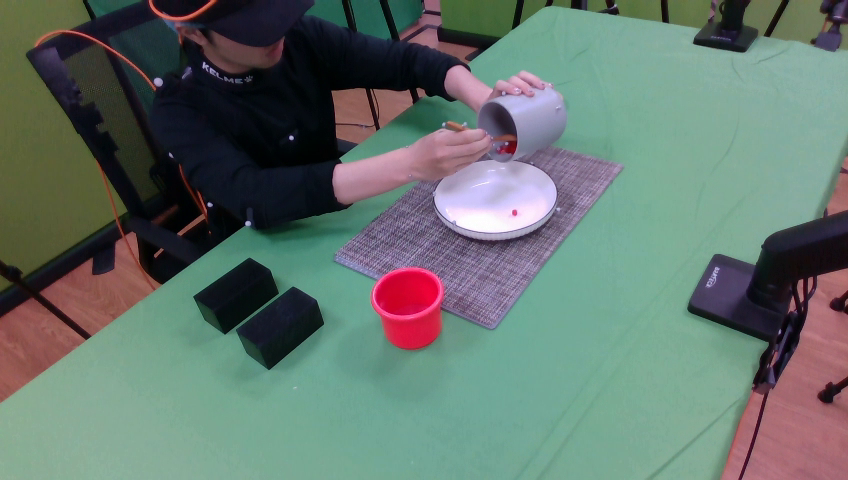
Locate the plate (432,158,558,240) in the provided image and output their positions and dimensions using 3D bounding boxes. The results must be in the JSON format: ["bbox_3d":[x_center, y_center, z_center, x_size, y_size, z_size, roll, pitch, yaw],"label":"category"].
[{"bbox_3d":[0.118,-0.066,1.012,0.207,0.039,0.206,-4,41,4],"label":"plate"}]

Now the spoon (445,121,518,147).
[{"bbox_3d":[0.104,-0.165,0.965,0.195,0.021,0.041,1,12,-44],"label":"spoon"}]

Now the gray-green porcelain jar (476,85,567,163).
[{"bbox_3d":[0.169,-0.199,1.017,0.127,0.106,0.105,-25,43,-30],"label":"gray-green porcelain jar"}]

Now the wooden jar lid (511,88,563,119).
[{"bbox_3d":[0.237,-0.286,1.272,0.108,0.021,0.108,-5,42,5],"label":"wooden jar lid"}]
